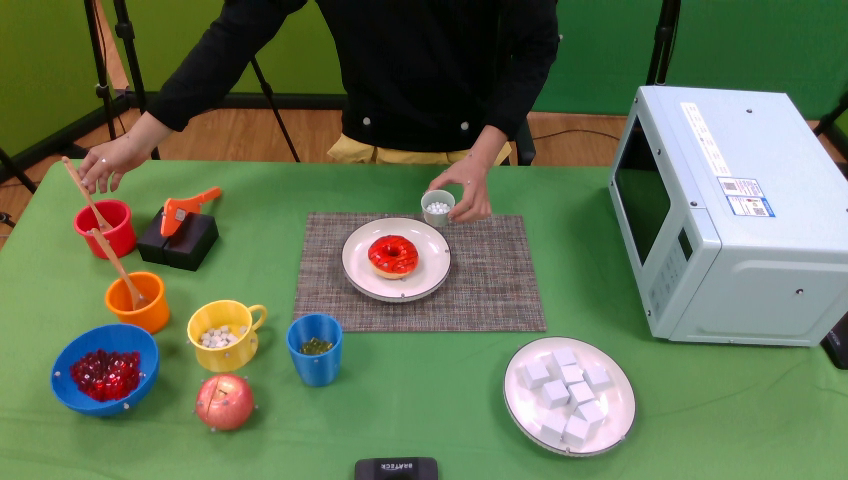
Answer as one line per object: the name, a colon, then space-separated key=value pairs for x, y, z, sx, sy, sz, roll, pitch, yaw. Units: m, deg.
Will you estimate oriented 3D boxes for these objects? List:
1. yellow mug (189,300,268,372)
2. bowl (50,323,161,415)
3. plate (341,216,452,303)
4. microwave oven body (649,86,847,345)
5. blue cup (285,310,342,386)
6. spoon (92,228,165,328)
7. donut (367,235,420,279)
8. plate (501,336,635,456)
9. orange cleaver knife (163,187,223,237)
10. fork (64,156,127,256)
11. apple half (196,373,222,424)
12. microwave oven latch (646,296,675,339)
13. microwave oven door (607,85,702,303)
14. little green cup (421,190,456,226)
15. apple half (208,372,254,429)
yellow mug: x=-0.315 y=0.148 z=1.001 sx=0.131 sy=0.064 sz=0.099 roll=-33 pitch=55 yaw=-31
bowl: x=-0.472 y=0.209 z=0.924 sx=0.151 sy=0.077 sz=0.150 roll=2 pitch=45 yaw=-2
plate: x=-0.052 y=0.039 z=1.140 sx=0.209 sy=0.038 sz=0.208 roll=2 pitch=46 yaw=-2
microwave oven body: x=0.568 y=-0.053 z=1.118 sx=0.326 sy=0.261 sz=0.439 roll=2 pitch=45 yaw=-1
blue cup: x=-0.170 y=0.179 z=0.958 sx=0.093 sy=0.101 sz=0.092 roll=2 pitch=44 yaw=-1
spoon: x=-0.496 y=0.063 z=1.014 sx=0.041 sy=0.194 sz=0.021 roll=-33 pitch=13 yaw=-30
donut: x=-0.057 y=0.032 z=1.132 sx=0.099 sy=0.048 sz=0.098 roll=3 pitch=45 yaw=-3
plate: x=0.225 y=0.248 z=0.963 sx=0.208 sy=0.039 sz=0.206 roll=2 pitch=46 yaw=-2
orange cleaver knife: x=-0.447 y=-0.058 z=1.180 sx=0.012 sy=0.077 sz=0.211 roll=8 pitch=16 yaw=8
fork: x=-0.614 y=-0.064 z=1.130 sx=0.028 sy=0.018 sz=0.207 roll=-30 pitch=97 yaw=-15
apple half: x=-0.322 y=0.239 z=0.906 sx=0.033 sy=0.081 sz=0.081 roll=7 pitch=46 yaw=-1
microwave oven latch: x=0.412 y=0.134 z=1.061 sx=0.030 sy=0.029 sz=0.078 roll=4 pitch=45 yaw=1
microwave oven door: x=0.423 y=-0.094 z=1.141 sx=0.039 sy=0.245 sz=0.353 roll=2 pitch=46 yaw=-1
little green cup: x=0.025 y=-0.056 z=1.095 sx=0.061 sy=0.039 sz=0.061 roll=1 pitch=51 yaw=-1
apple half: x=-0.283 y=0.244 z=0.908 sx=0.053 sy=0.075 sz=0.080 roll=7 pitch=42 yaw=-1
